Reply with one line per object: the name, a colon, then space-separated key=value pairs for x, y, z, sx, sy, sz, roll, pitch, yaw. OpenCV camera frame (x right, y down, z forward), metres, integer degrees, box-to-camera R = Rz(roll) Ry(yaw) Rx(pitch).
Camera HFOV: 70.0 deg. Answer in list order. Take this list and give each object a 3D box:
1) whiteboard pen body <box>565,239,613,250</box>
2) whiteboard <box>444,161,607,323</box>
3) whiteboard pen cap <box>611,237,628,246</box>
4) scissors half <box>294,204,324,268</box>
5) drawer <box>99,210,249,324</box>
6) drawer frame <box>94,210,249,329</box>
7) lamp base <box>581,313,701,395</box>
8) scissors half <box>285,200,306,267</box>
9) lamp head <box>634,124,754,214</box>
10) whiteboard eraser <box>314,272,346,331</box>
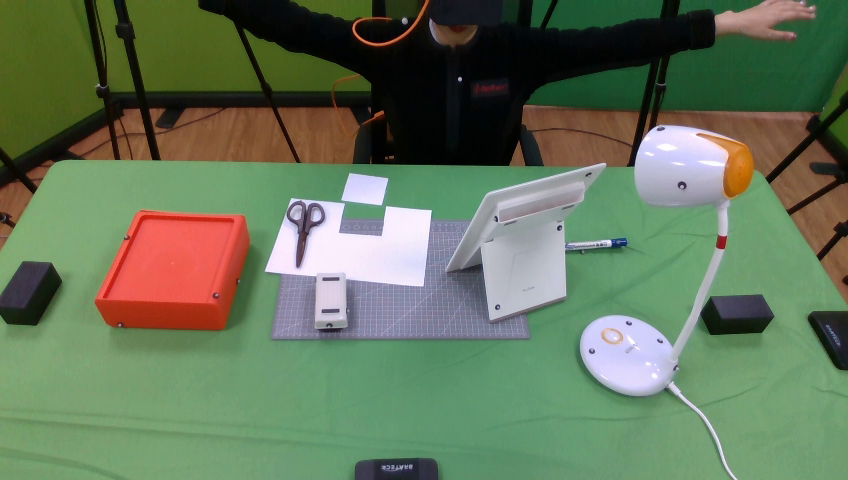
whiteboard pen body: x=0.331 y=0.008 z=1.211 sx=0.141 sy=0.017 sz=0.017 roll=-5 pitch=47 yaw=-4
whiteboard: x=0.186 y=0.025 z=1.029 sx=0.217 sy=0.306 sz=0.143 roll=-14 pitch=68 yaw=-18
whiteboard pen cap: x=0.390 y=0.004 z=1.215 sx=0.033 sy=0.018 sz=0.018 roll=-7 pitch=47 yaw=-2
scissors half: x=-0.231 y=-0.010 z=1.197 sx=0.040 sy=0.013 sz=0.174 roll=20 pitch=45 yaw=-8
drawer: x=-0.435 y=0.044 z=1.081 sx=0.194 sy=0.073 sz=0.210 roll=3 pitch=47 yaw=-2
drawer frame: x=-0.434 y=0.048 z=1.076 sx=0.202 sy=0.083 sz=0.212 roll=2 pitch=47 yaw=-3
lamp base: x=0.361 y=0.144 z=0.972 sx=0.178 sy=0.181 sz=0.160 roll=34 pitch=53 yaw=23
scissors half: x=-0.251 y=-0.014 z=1.192 sx=0.040 sy=0.013 sz=0.174 roll=2 pitch=49 yaw=-17
lamp head: x=0.351 y=-0.089 z=0.775 sx=0.112 sy=0.113 sz=0.122 roll=-30 pitch=30 yaw=-28
whiteboard eraser: x=-0.165 y=0.107 z=1.063 sx=0.055 sy=0.042 sz=0.112 roll=-3 pitch=46 yaw=-5
